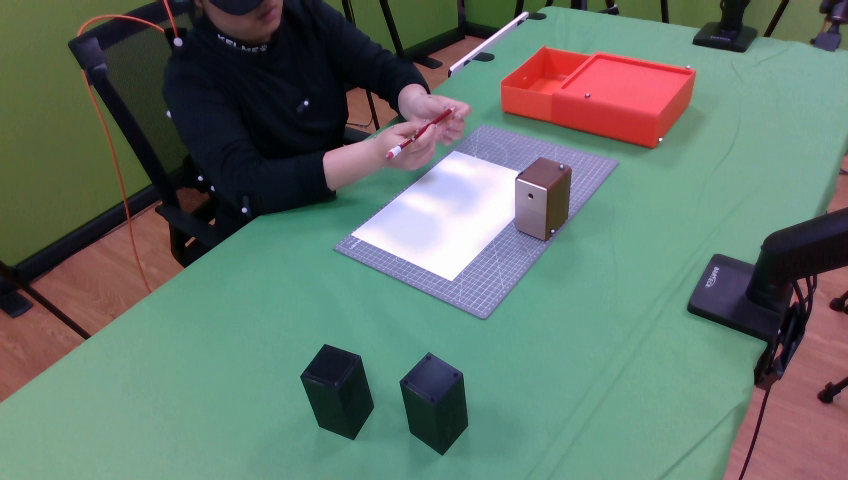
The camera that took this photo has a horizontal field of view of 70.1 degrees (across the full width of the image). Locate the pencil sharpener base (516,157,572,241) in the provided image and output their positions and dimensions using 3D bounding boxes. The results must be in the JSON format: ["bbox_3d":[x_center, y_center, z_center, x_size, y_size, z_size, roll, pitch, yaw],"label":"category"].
[{"bbox_3d":[0.189,-0.065,0.948,0.061,0.107,0.077,24,49,33],"label":"pencil sharpener base"}]

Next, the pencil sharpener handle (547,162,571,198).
[{"bbox_3d":[0.221,-0.101,0.968,0.035,0.068,0.031,20,47,37],"label":"pencil sharpener handle"}]

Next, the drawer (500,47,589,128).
[{"bbox_3d":[0.295,-0.316,1.255,0.210,0.073,0.195,22,47,29],"label":"drawer"}]

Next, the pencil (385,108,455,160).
[{"bbox_3d":[-0.002,-0.176,0.976,0.012,0.012,0.194,20,43,29],"label":"pencil"}]

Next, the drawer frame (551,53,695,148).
[{"bbox_3d":[0.391,-0.281,1.196,0.212,0.083,0.202,22,48,29],"label":"drawer frame"}]
